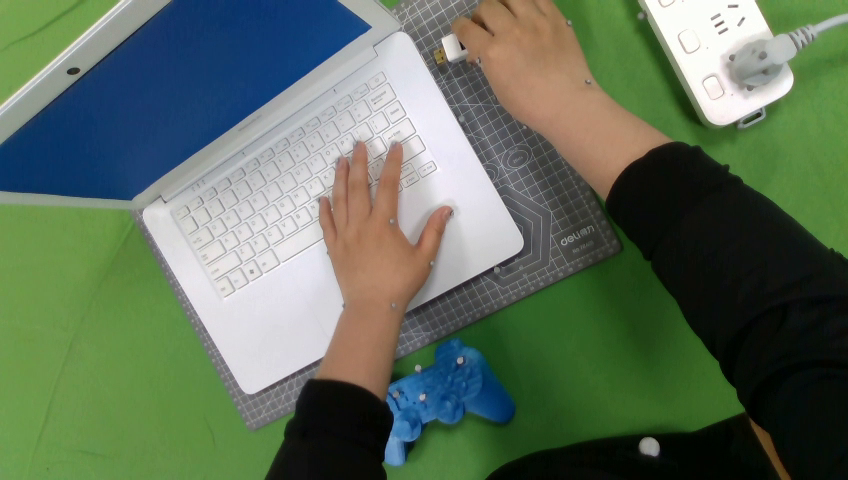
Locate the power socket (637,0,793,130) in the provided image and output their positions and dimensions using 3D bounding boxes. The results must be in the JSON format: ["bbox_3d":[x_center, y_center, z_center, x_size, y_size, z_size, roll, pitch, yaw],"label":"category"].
[{"bbox_3d":[0.218,-0.194,0.490,0.072,0.032,0.226,-27,90,18],"label":"power socket"}]

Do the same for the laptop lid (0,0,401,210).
[{"bbox_3d":[-0.204,-0.117,0.503,0.356,0.242,0.013,-30,81,19],"label":"laptop lid"}]

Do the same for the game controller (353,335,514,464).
[{"bbox_3d":[0.001,0.160,0.598,0.155,0.052,0.097,-28,85,17],"label":"game controller"}]

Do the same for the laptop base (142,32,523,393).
[{"bbox_3d":[-0.106,-0.014,0.615,0.354,0.023,0.235,-30,93,17],"label":"laptop base"}]

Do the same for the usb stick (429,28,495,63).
[{"bbox_3d":[0.033,-0.173,0.544,0.059,0.027,0.021,-9,101,7],"label":"usb stick"}]

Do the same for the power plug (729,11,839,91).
[{"bbox_3d":[0.273,-0.140,0.464,0.072,0.052,0.035,-17,93,14],"label":"power plug"}]
